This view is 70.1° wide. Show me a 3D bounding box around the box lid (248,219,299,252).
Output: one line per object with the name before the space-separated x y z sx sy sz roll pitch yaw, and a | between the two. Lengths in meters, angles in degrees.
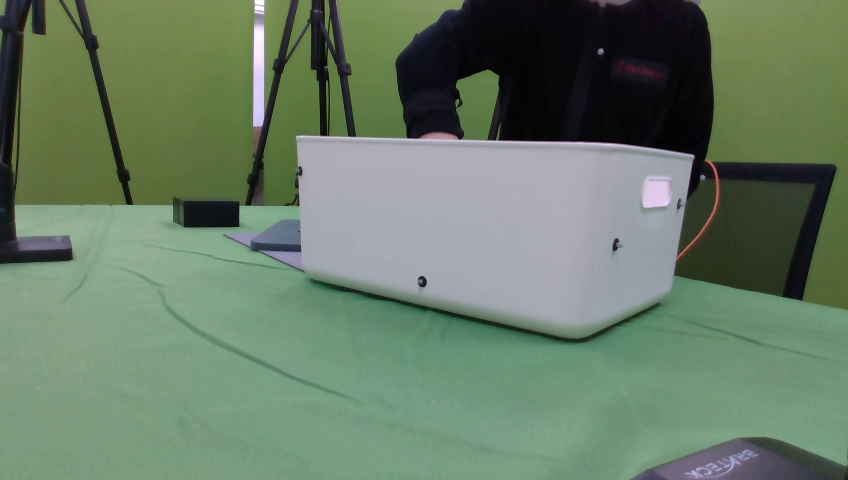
box lid | -0.146 -0.008 1.066 0.264 0.015 0.371 3 7 -6

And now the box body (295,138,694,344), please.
box body | 0.065 -0.020 0.653 0.362 0.160 0.255 9 9 36

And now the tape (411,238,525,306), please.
tape | 0.044 0.031 0.628 0.117 0.052 0.117 3 8 0
